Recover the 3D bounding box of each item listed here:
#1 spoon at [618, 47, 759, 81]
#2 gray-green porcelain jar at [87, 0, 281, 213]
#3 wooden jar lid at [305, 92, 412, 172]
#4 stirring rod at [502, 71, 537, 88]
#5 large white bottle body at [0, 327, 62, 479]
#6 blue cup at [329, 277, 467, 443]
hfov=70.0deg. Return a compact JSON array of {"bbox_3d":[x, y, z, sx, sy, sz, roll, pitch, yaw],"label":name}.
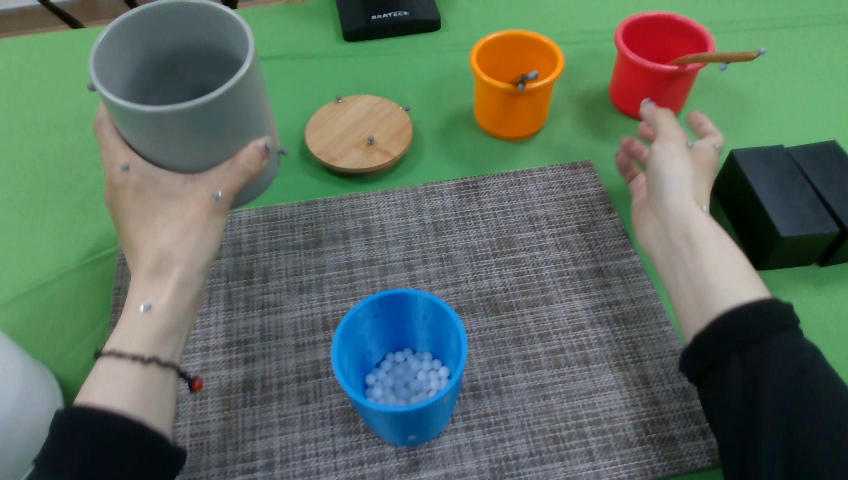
[{"bbox_3d":[0.245,-0.170,0.579,0.042,0.022,0.192,-15,11,-9],"label":"spoon"},{"bbox_3d":[-0.163,-0.089,0.441,0.106,0.127,0.105,1,59,-2],"label":"gray-green porcelain jar"},{"bbox_3d":[-0.066,-0.108,0.616,0.108,0.021,0.107,0,53,1],"label":"wooden jar lid"},{"bbox_3d":[0.088,-0.151,0.573,0.014,0.006,0.175,-4,11,3],"label":"stirring rod"},{"bbox_3d":[-0.332,0.089,0.371,0.130,0.186,0.129,0,53,1],"label":"large white bottle body"},{"bbox_3d":[-0.014,0.093,0.412,0.092,0.101,0.092,-1,54,2],"label":"blue cup"}]
